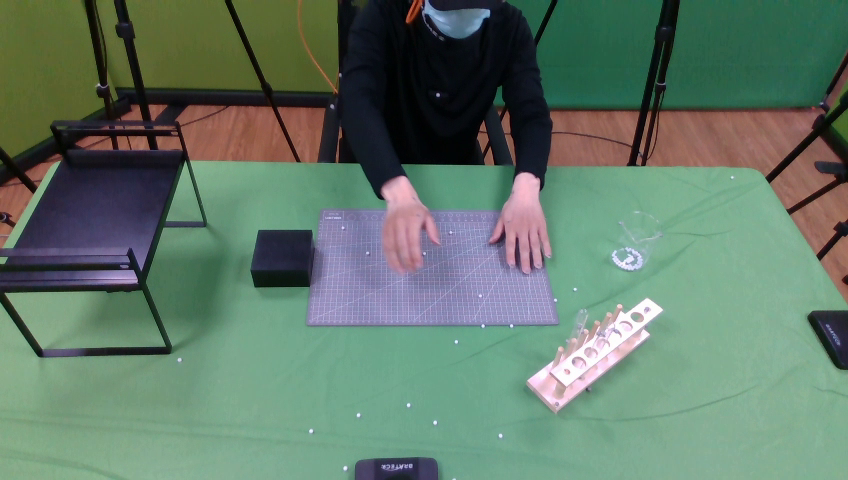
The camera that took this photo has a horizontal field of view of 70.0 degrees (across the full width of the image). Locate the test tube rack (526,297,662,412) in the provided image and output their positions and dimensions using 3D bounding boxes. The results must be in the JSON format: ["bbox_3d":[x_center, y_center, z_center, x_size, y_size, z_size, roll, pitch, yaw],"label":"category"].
[{"bbox_3d":[0.284,0.176,1.007,0.242,0.085,0.066,-28,54,-27],"label":"test tube rack"}]

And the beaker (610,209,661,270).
[{"bbox_3d":[0.404,0.005,1.170,0.074,0.101,0.083,20,49,15],"label":"beaker"}]

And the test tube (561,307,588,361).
[{"bbox_3d":[0.239,0.153,0.964,0.017,0.151,0.017,1,48,0],"label":"test tube"}]

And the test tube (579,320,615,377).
[{"bbox_3d":[0.265,0.171,0.941,0.017,0.151,0.017,4,49,-4],"label":"test tube"}]
